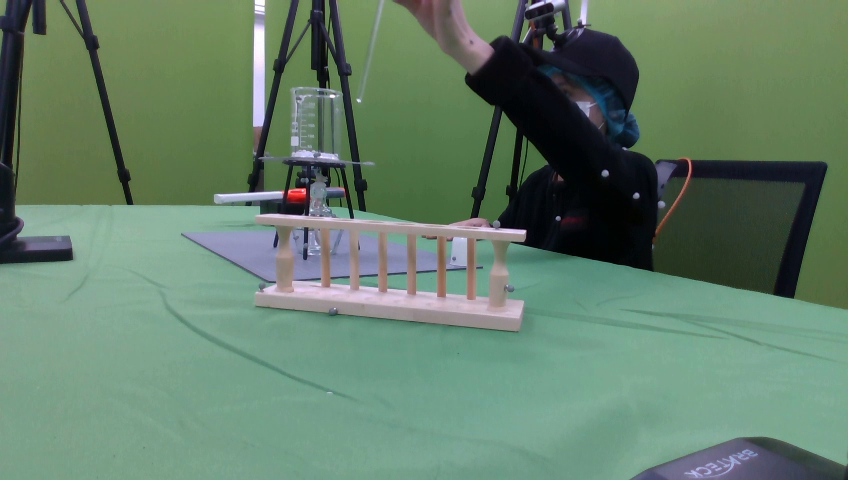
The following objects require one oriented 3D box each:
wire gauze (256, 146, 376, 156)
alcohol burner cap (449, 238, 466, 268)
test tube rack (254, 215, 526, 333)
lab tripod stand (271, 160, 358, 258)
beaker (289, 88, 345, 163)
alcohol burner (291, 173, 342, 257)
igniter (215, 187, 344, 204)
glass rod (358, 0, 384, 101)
[{"bbox_3d":[-0.155,-0.128,0.871,0.124,0.011,0.122,2,7,36],"label":"wire gauze"},{"bbox_3d":[0.051,0.014,0.827,0.034,0.048,0.034,2,4,0],"label":"alcohol burner cap"},{"bbox_3d":[-0.030,0.025,0.558,0.242,0.085,0.067,4,7,12],"label":"test tube rack"},{"bbox_3d":[-0.160,-0.048,0.876,0.148,0.131,0.148,3,5,0],"label":"lab tripod stand"},{"bbox_3d":[-0.157,-0.160,0.862,0.083,0.100,0.074,7,7,34],"label":"beaker"},{"bbox_3d":[-0.155,-0.037,0.870,0.078,0.119,0.078,1,6,0],"label":"alcohol burner"},{"bbox_3d":[-0.290,-0.093,1.255,0.278,0.025,0.057,-6,12,-35],"label":"igniter"},{"bbox_3d":[-0.055,-0.263,0.719,0.008,0.199,0.008,12,3,0],"label":"glass rod"}]
